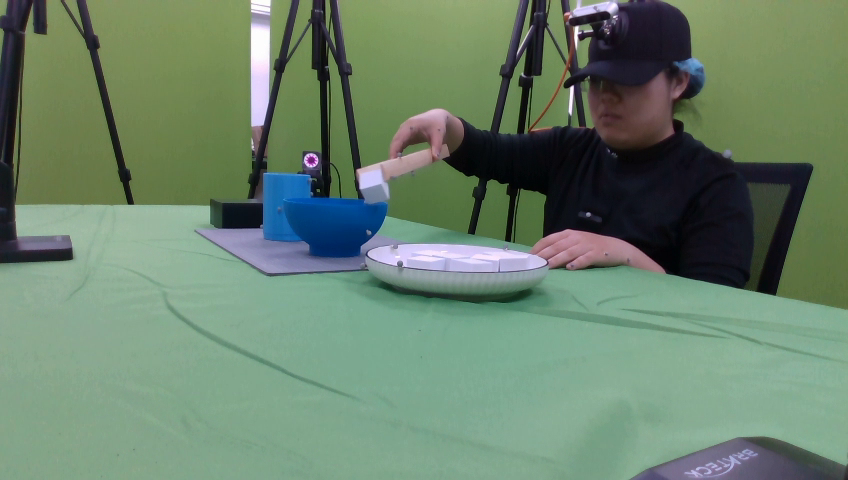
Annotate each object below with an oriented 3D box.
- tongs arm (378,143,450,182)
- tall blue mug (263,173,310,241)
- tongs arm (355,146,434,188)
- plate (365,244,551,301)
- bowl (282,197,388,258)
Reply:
[{"bbox_3d":[-0.016,-0.131,0.995,0.050,0.026,0.386,-14,9,22],"label":"tongs arm"},{"bbox_3d":[-0.233,-0.058,1.019,0.078,0.108,0.107,-1,8,-19],"label":"tall blue mug"},{"bbox_3d":[-0.038,-0.126,1.002,0.028,0.028,0.388,-18,7,19],"label":"tongs arm"},{"bbox_3d":[0.038,0.035,0.685,0.209,0.038,0.209,2,7,0],"label":"plate"},{"bbox_3d":[-0.128,-0.019,0.869,0.151,0.077,0.151,2,7,0],"label":"bowl"}]
